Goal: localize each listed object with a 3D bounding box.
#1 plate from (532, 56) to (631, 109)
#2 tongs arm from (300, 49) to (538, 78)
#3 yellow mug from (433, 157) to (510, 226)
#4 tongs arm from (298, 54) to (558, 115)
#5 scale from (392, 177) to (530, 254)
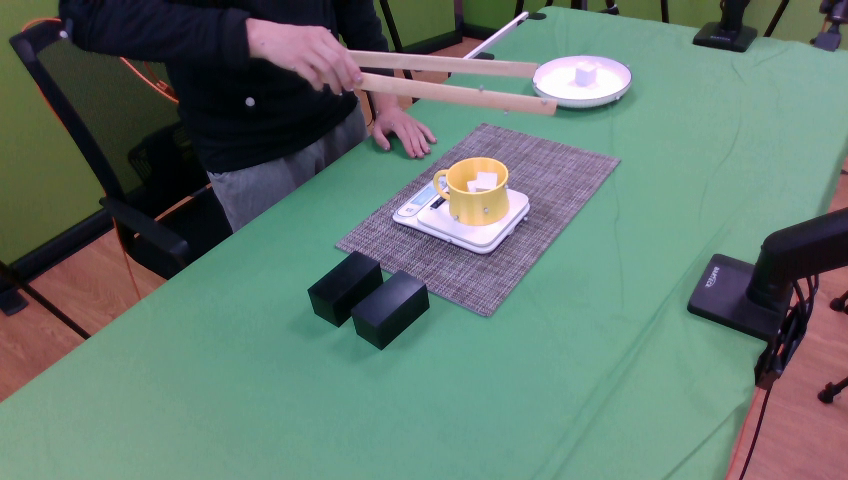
[{"bbox_3d":[0.335,-0.336,1.301,0.207,0.039,0.206,-4,41,4],"label":"plate"},{"bbox_3d":[0.000,-0.275,0.952,0.389,0.028,0.028,-1,45,-15],"label":"tongs arm"},{"bbox_3d":[0.072,-0.082,0.968,0.130,0.064,0.100,13,45,24],"label":"yellow mug"},{"bbox_3d":[0.006,-0.229,0.895,0.386,0.026,0.050,5,40,-7],"label":"tongs arm"},{"bbox_3d":[0.060,-0.050,1.006,0.199,0.032,0.149,22,48,30],"label":"scale"}]
